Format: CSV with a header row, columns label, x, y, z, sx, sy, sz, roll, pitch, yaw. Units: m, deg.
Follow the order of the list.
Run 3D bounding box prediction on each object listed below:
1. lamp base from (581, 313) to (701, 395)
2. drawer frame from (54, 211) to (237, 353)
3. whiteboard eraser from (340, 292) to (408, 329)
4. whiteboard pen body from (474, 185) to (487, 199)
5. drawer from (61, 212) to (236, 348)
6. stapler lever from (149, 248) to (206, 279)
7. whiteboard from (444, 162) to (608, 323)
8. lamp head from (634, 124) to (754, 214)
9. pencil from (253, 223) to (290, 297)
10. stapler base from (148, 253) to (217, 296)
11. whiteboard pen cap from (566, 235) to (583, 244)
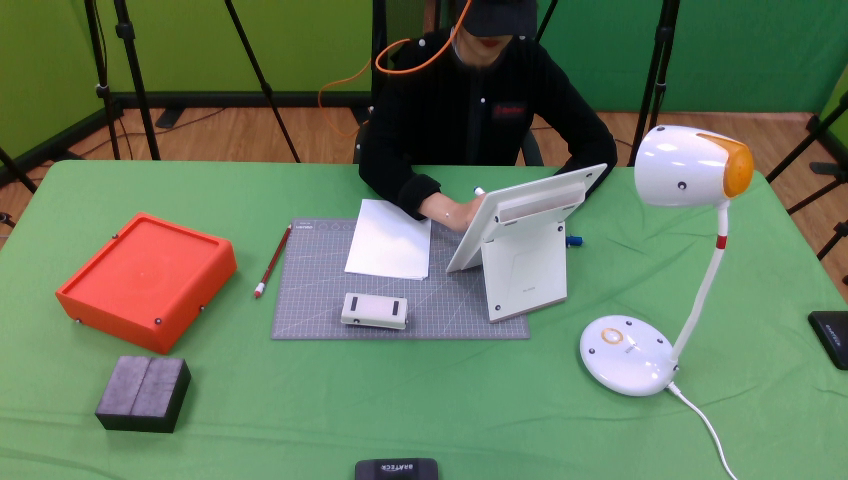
label,x,y,z,sx,sy,sz,roll,pitch,yaw
lamp base,0.361,0.144,0.972,0.178,0.181,0.160,34,53,23
drawer frame,-0.473,0.067,1.055,0.201,0.083,0.212,17,48,11
whiteboard eraser,-0.087,0.125,1.052,0.113,0.042,0.055,5,45,1
whiteboard pen body,0.142,-0.061,1.140,0.017,0.017,0.140,-26,52,-26
drawer,-0.473,0.064,1.060,0.194,0.073,0.211,18,48,11
stapler lever,-0.443,0.037,1.084,0.118,0.040,0.027,19,50,17
whiteboard,0.186,0.026,1.028,0.217,0.306,0.143,-14,68,-17
lamp head,0.351,-0.089,0.775,0.112,0.113,0.122,-30,30,-28
pencil,-0.286,0.033,1.150,0.012,0.012,0.193,9,46,4
stapler base,-0.443,0.059,1.109,0.130,0.024,0.041,24,51,11
whiteboard pen cap,0.303,0.000,1.221,0.033,0.018,0.018,3,46,-2
